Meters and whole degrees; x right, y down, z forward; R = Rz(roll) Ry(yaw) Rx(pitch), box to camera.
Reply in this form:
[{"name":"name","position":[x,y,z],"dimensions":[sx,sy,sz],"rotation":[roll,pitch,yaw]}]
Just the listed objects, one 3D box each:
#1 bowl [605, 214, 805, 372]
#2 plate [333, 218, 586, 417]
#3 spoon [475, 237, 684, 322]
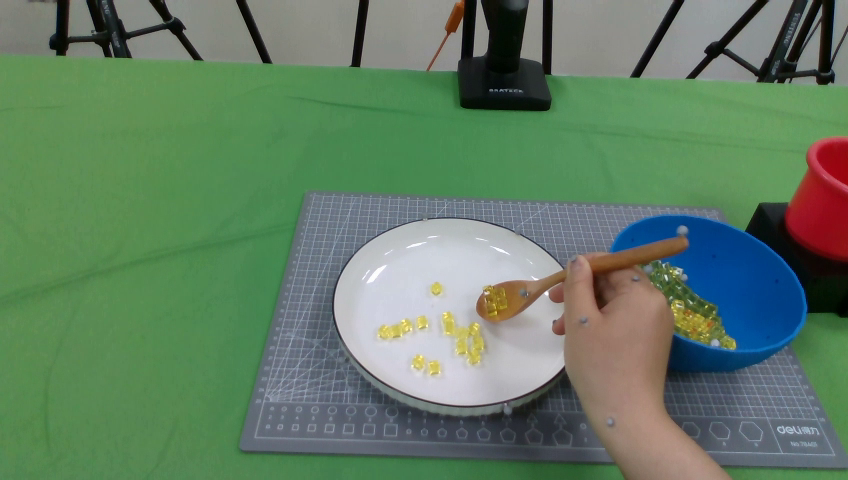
[{"name":"bowl","position":[0.218,0.056,0.502],"dimensions":[0.151,0.077,0.150],"rotation":[2,43,-2]},{"name":"plate","position":[0.029,0.062,0.513],"dimensions":[0.208,0.039,0.205],"rotation":[2,43,-2]},{"name":"spoon","position":[0.103,0.029,0.448],"dimensions":[0.022,0.193,0.041],"rotation":[40,55,-14]}]
